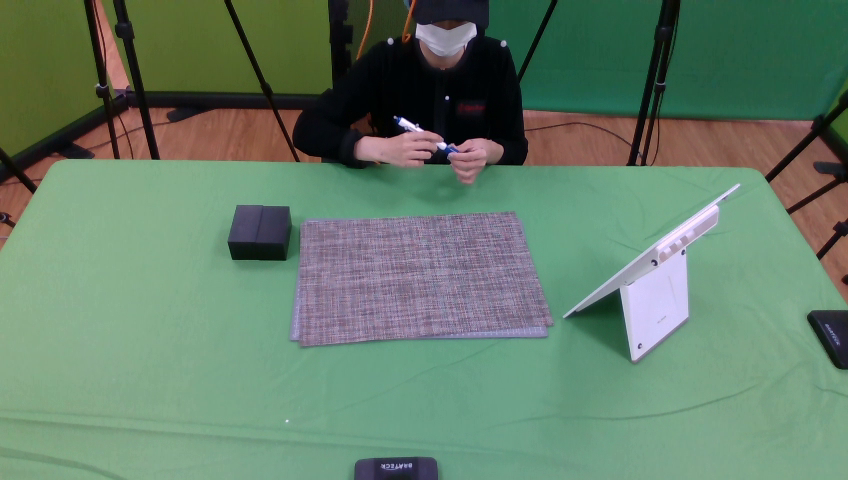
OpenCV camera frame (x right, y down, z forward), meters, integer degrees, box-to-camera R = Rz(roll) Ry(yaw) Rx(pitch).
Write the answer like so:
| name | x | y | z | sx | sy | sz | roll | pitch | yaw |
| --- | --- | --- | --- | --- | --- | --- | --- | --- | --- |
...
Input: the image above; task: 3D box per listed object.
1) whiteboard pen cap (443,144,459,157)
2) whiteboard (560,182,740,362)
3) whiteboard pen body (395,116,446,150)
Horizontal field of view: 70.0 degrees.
| name | x | y | z | sx | sy | sz | roll | pitch | yaw |
| --- | --- | --- | --- | --- | --- | --- | --- | --- | --- |
| whiteboard pen cap | 0.055 | -0.189 | 1.270 | 0.033 | 0.018 | 0.018 | 25 | 46 | -11 |
| whiteboard | 0.406 | 0.075 | 1.001 | 0.217 | 0.306 | 0.143 | -28 | 73 | -28 |
| whiteboard pen body | 0.002 | -0.216 | 1.256 | 0.141 | 0.017 | 0.017 | 29 | 45 | -14 |
